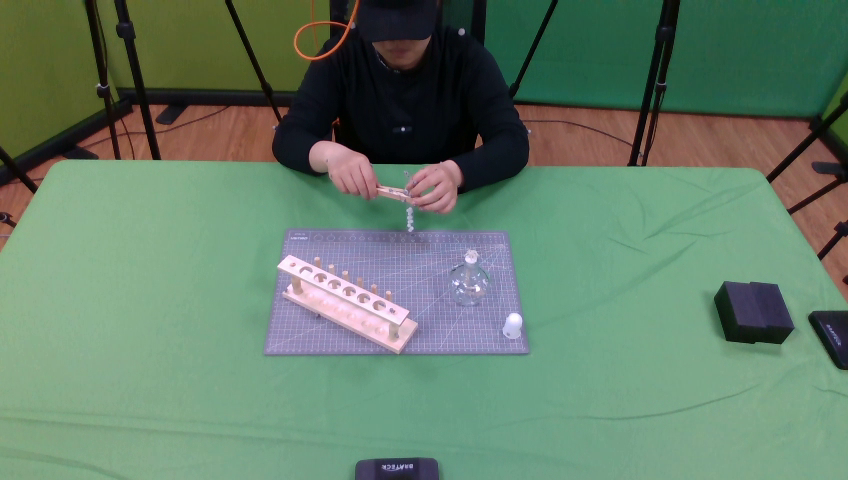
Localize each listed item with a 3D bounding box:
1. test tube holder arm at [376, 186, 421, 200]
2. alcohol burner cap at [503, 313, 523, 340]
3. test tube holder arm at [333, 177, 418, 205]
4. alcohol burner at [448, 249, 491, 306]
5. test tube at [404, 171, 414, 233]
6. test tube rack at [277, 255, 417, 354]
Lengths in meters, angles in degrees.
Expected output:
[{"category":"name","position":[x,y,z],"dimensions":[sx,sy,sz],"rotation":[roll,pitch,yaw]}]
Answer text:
[{"category":"test tube holder arm","position":[-0.050,-0.090,1.157],"dimensions":[0.088,0.015,0.010],"rotation":[8,39,8]},{"category":"alcohol burner cap","position":[0.156,0.148,1.051],"dimensions":[0.034,0.048,0.033],"rotation":[1,45,-1]},{"category":"test tube holder arm","position":[-0.094,-0.095,1.163],"dimensions":[0.178,0.015,0.013],"rotation":[14,40,15]},{"category":"alcohol burner","position":[0.081,0.062,1.078],"dimensions":[0.078,0.120,0.077],"rotation":[1,45,-1]},{"category":"test tube","position":[-0.029,-0.069,1.160],"dimensions":[0.017,0.151,0.017],"rotation":[0,44,0]},{"category":"test tube rack","position":[-0.131,0.099,1.045],"dimensions":[0.241,0.085,0.066],"rotation":[23,49,17]}]
